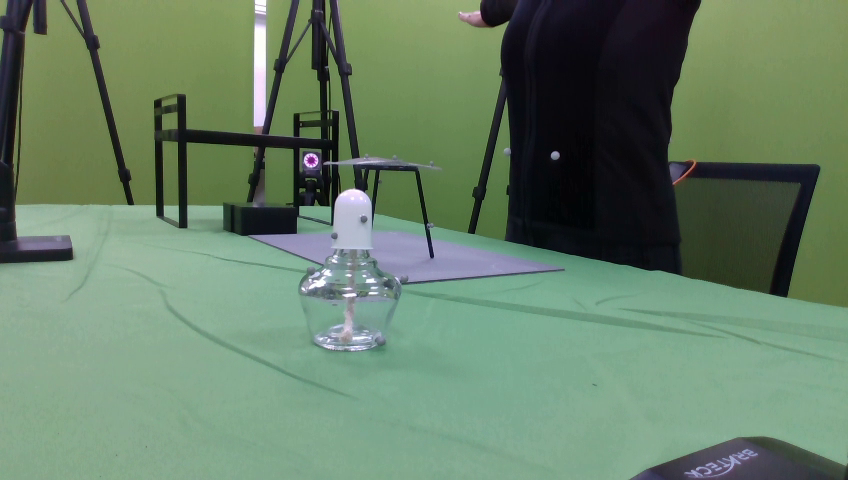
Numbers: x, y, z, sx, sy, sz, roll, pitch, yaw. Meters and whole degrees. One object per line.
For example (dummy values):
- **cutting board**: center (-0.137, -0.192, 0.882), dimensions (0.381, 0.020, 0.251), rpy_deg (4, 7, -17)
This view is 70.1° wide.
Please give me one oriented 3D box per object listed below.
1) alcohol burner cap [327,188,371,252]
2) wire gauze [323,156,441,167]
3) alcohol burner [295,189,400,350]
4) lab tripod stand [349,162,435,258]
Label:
- **alcohol burner cap**: center (-0.055, -0.015, 0.448), dimensions (0.034, 0.048, 0.034), rpy_deg (0, 1, 0)
- **wire gauze**: center (-0.056, -0.111, 0.856), dimensions (0.121, 0.011, 0.125), rpy_deg (8, 10, 31)
- **alcohol burner**: center (-0.056, 0.021, 0.453), dimensions (0.078, 0.119, 0.078), rpy_deg (3, 7, 0)
- **lab tripod stand**: center (-0.056, -0.044, 0.863), dimensions (0.148, 0.131, 0.148), rpy_deg (3, 9, 0)
